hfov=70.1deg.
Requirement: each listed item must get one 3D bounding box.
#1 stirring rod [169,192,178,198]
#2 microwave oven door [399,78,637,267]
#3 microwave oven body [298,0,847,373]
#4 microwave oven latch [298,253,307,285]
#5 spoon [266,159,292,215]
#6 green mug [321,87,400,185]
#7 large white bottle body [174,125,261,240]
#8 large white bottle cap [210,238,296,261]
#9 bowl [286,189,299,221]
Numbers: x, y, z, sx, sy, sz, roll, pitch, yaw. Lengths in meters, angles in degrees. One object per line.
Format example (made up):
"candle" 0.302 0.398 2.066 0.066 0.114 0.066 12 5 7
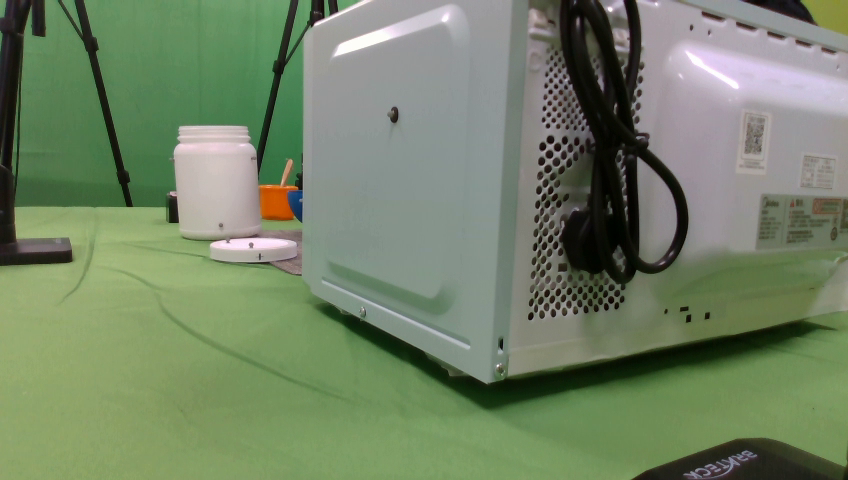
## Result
"stirring rod" -0.465 -0.098 1.283 0.014 0.006 0.177 42 22 17
"microwave oven door" 0.117 -0.103 0.875 0.354 0.243 0.039 7 9 35
"microwave oven body" 0.151 -0.055 0.543 0.444 0.260 0.324 -1 7 -33
"microwave oven latch" -0.081 0.027 0.583 0.079 0.029 0.030 -1 7 -33
"spoon" -0.334 -0.127 1.423 0.041 0.193 0.022 0 -38 7
"green mug" -0.078 -0.124 0.740 0.093 0.105 0.125 5 4 -18
"large white bottle body" -0.349 -0.100 1.025 0.131 0.184 0.130 -1 9 0
"large white bottle cap" -0.236 0.013 0.839 0.115 0.018 0.115 1 7 0
"bowl" -0.179 -0.051 1.115 0.151 0.077 0.151 3 8 0
